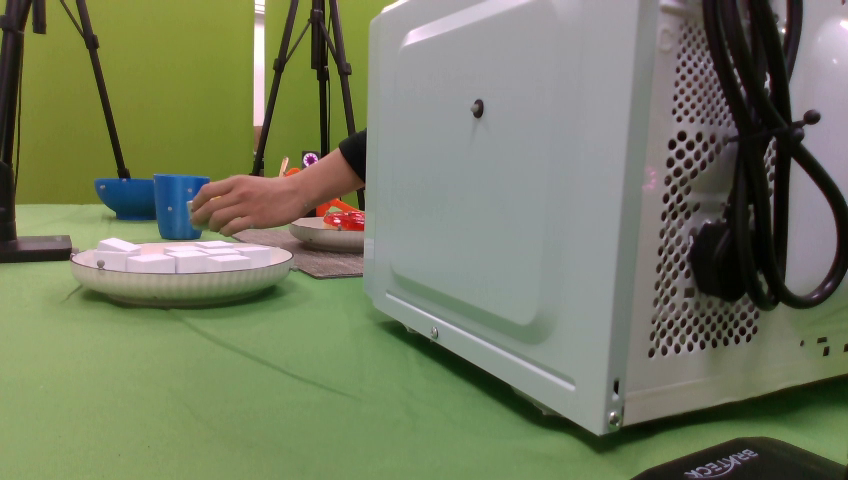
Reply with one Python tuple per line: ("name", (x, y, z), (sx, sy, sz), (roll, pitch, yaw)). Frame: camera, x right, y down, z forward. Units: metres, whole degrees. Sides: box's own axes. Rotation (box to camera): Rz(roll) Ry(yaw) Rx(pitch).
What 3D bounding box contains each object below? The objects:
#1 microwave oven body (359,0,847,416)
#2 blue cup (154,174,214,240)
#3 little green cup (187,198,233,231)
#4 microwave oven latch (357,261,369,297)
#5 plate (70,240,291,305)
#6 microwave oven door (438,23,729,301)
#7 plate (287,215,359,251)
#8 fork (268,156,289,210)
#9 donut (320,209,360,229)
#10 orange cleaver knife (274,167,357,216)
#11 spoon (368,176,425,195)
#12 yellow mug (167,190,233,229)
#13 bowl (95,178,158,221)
("microwave oven body", (0.211, -0.047, 0.474), (0.444, 0.260, 0.324), (-1, 7, -28))
("blue cup", (-0.391, -0.053, 0.978), (0.093, 0.100, 0.092), (3, 6, 0))
("little green cup", (-0.299, -0.036, 0.852), (0.061, 0.038, 0.061), (-5, 12, 1))
("microwave oven latch", (-0.019, 0.033, 0.530), (0.079, 0.029, 0.030), (-1, 7, -26))
("plate", (-0.242, 0.031, 0.618), (0.208, 0.039, 0.207), (2, 8, 0))
("microwave oven door", (0.181, -0.072, 0.620), (0.358, 0.243, 0.039), (-2, 8, -29))
("plate", (-0.112, -0.012, 0.960), (0.209, 0.038, 0.209), (3, 8, 0))
("fork", (-0.360, -0.144, 1.508), (0.028, 0.018, 0.207), (1, 49, 0))
("donut", (-0.115, -0.023, 0.961), (0.099, 0.048, 0.099), (4, 8, 0))
("orange cleaver knife", (-0.238, -0.091, 1.381), (0.212, 0.077, 0.012), (31, 0, -19))
("spoon", (-0.049, -0.114, 1.225), (0.041, 0.021, 0.194), (5, 18, 31))
("yellow mug", (-0.415, -0.057, 1.132), (0.130, 0.064, 0.100), (6, 8, 16))
("bowl", (-0.576, -0.081, 1.217), (0.151, 0.077, 0.151), (3, 8, 0))
